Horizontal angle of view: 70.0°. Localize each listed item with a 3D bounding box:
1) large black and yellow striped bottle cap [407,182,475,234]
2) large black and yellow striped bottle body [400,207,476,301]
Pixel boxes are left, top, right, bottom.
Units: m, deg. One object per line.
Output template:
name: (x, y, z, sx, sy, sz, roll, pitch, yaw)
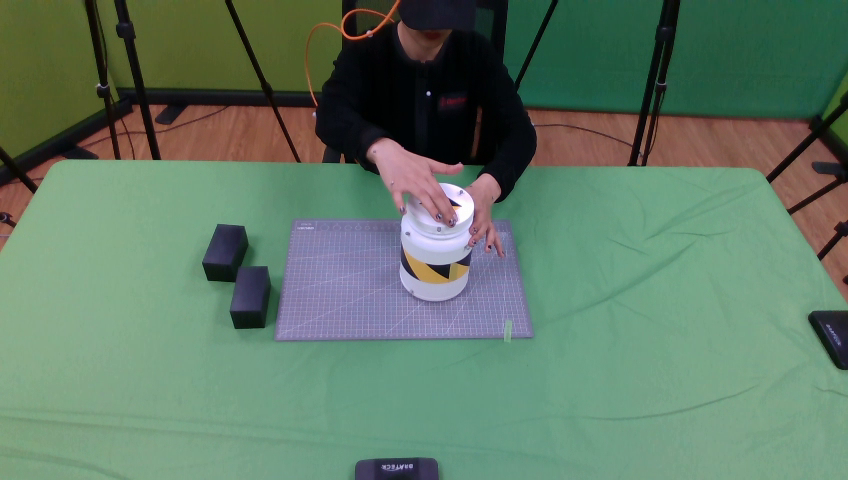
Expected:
large black and yellow striped bottle cap: (0.028, -0.055, 1.014, 0.115, 0.019, 0.114, 1, 45, 0)
large black and yellow striped bottle body: (0.022, 0.006, 1.076, 0.131, 0.185, 0.130, 2, 46, -2)
